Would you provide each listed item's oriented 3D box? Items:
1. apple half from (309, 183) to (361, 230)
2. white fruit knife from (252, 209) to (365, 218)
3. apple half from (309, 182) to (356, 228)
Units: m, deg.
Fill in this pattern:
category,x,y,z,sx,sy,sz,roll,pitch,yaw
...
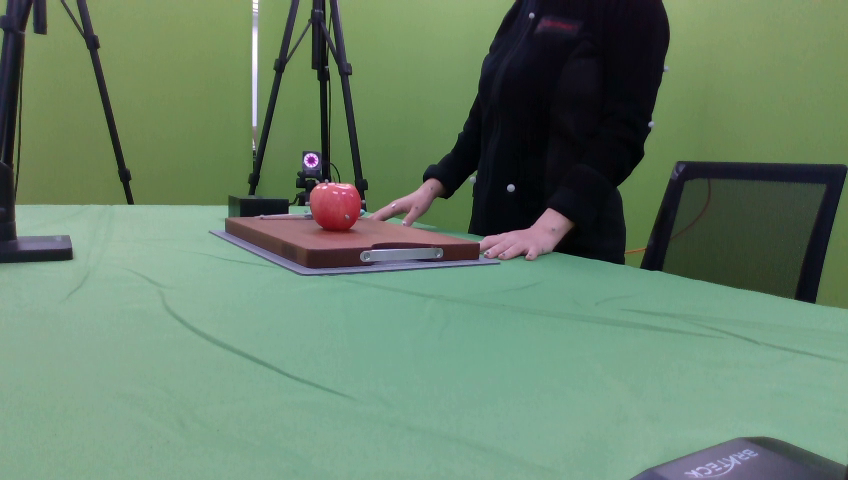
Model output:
category,x,y,z,sx,sy,sz,roll,pitch,yaw
apple half,-0.135,-0.052,0.945,0.081,0.074,0.053,3,10,-29
white fruit knife,-0.209,-0.047,1.106,0.208,0.016,0.027,-3,-4,-30
apple half,-0.152,-0.058,0.978,0.082,0.081,0.032,-2,11,-27
